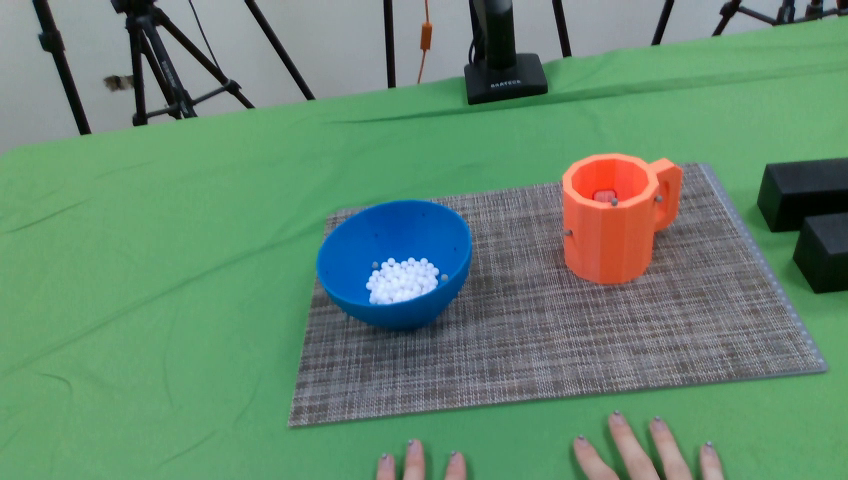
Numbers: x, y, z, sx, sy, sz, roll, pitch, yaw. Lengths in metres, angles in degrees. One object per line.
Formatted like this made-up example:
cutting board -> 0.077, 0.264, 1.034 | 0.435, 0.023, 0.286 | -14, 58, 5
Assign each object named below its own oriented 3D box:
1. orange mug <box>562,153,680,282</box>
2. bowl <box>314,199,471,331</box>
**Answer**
orange mug -> 0.195, -0.029, 0.598 | 0.126, 0.102, 0.082 | -26, 42, -9
bowl -> -0.023, 0.036, 0.595 | 0.151, 0.077, 0.150 | -7, 40, 7
